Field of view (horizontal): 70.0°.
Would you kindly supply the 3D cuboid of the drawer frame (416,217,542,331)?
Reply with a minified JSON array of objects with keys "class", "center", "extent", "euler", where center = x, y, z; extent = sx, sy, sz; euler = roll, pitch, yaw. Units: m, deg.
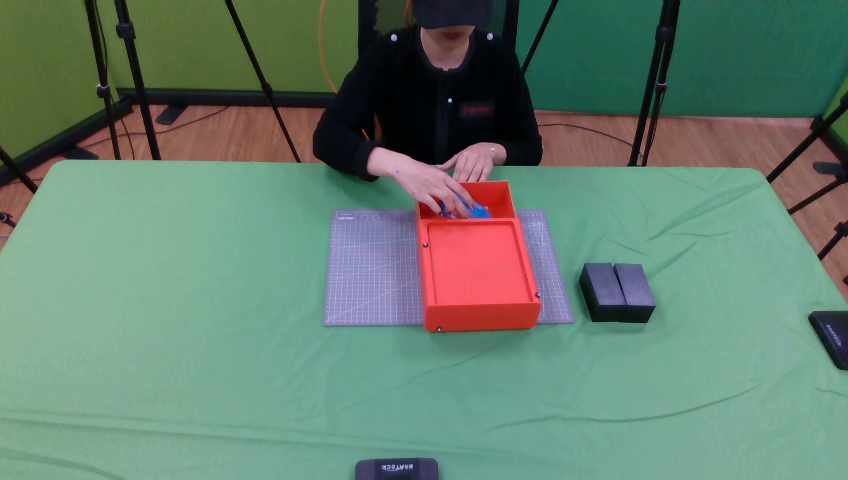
[{"class":"drawer frame","center":[0.092,0.056,1.105],"extent":[0.202,0.083,0.212],"euler":[-1,47,-6]}]

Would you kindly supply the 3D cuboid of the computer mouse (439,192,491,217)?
[{"class":"computer mouse","center":[0.085,-0.059,1.193],"extent":[0.117,0.041,0.062],"euler":[21,26,-17]}]

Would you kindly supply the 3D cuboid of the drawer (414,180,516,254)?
[{"class":"drawer","center":[0.084,-0.025,1.186],"extent":[0.195,0.073,0.210],"euler":[0,46,-6]}]
